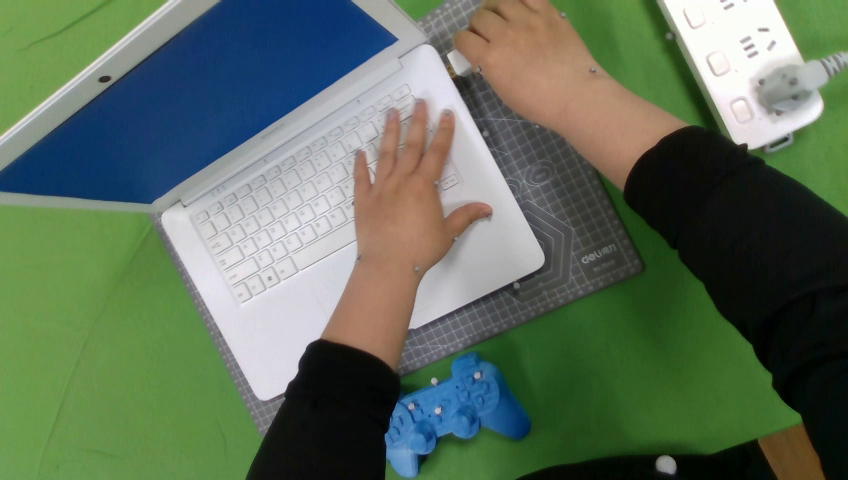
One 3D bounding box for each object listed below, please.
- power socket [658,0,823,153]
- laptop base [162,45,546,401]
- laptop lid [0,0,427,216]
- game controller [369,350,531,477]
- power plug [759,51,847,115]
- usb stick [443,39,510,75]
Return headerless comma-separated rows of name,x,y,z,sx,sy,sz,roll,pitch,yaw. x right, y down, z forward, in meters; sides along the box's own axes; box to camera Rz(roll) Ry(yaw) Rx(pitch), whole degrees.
power socket,0.242,-0.176,0.488,0.072,0.032,0.226,-25,90,19
laptop base,-0.084,-0.003,0.614,0.354,0.023,0.235,-28,93,18
laptop lid,-0.181,-0.108,0.503,0.356,0.242,0.013,-29,80,19
game controller,0.018,0.174,0.596,0.155,0.052,0.097,-27,84,17
power plug,0.296,-0.120,0.461,0.072,0.053,0.035,-15,92,14
usb stick,0.046,-0.164,0.550,0.059,0.027,0.021,-13,102,2
